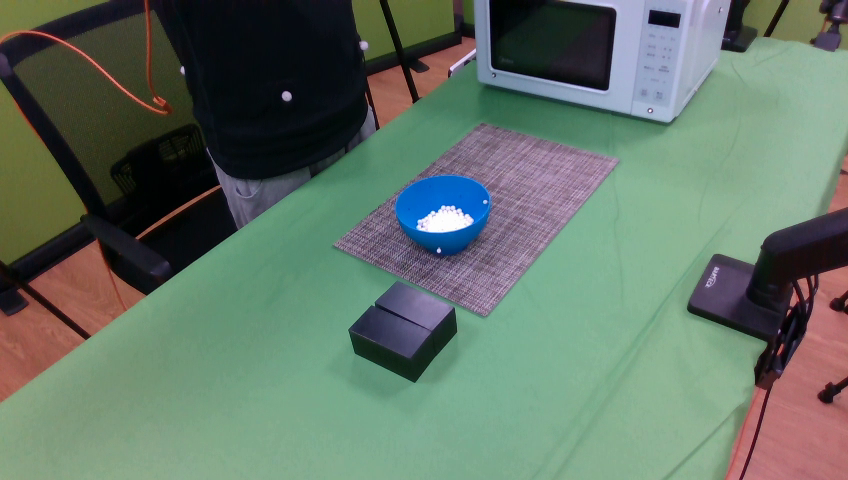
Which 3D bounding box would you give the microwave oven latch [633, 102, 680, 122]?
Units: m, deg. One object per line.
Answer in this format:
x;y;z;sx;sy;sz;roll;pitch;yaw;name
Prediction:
0.443;-0.249;1.157;0.078;0.029;0.030;21;49;30;microwave oven latch

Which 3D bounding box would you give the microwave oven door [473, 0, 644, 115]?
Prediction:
0.257;-0.396;1.199;0.353;0.245;0.039;21;48;29;microwave oven door

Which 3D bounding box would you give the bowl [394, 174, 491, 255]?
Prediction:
0.032;-0.030;0.949;0.151;0.077;0.150;-4;40;4;bowl

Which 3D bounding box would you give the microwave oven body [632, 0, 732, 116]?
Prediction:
0.377;-0.462;1.267;0.438;0.261;0.327;21;48;30;microwave oven body
